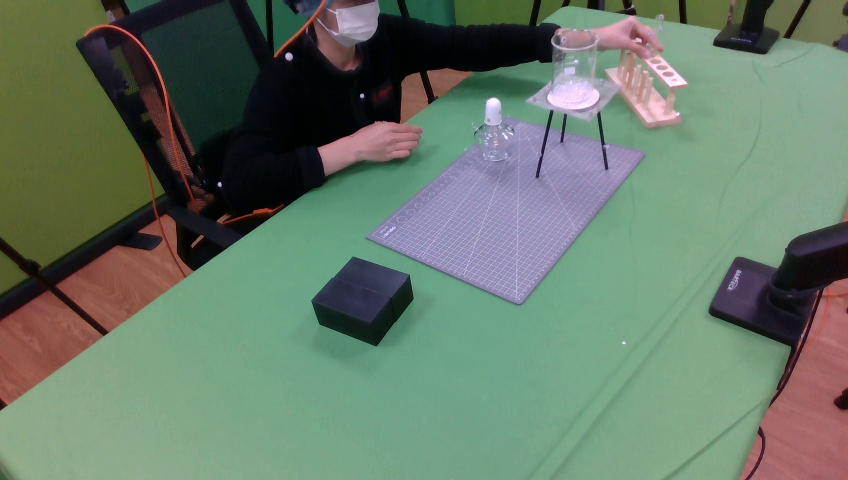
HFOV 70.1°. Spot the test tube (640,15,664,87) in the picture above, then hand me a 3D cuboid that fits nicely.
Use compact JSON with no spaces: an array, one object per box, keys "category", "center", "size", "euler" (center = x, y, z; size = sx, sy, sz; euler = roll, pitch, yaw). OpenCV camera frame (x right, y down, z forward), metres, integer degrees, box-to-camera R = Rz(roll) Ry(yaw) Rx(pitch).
[{"category":"test tube","center":[0.459,-0.377,1.218],"size":[0.017,0.151,0.017],"euler":[-1,44,1]}]

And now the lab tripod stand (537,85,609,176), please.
[{"category":"lab tripod stand","center":[0.259,-0.192,1.068],"size":[0.148,0.132,0.147],"euler":[-4,43,4]}]

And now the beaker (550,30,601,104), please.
[{"category":"beaker","center":[0.249,-0.285,1.001],"size":[0.084,0.101,0.073],"euler":[-13,43,-5]}]

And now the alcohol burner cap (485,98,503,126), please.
[{"category":"alcohol burner cap","center":[0.126,-0.234,1.097],"size":[0.034,0.048,0.033],"euler":[-3,39,3]}]

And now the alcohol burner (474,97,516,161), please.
[{"category":"alcohol burner","center":[0.131,-0.208,1.121],"size":[0.078,0.119,0.077],"euler":[-6,40,5]}]

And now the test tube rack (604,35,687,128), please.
[{"category":"test tube rack","center":[0.447,-0.330,1.241],"size":[0.067,0.085,0.241],"euler":[-9,41,-2]}]

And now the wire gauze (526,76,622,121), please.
[{"category":"wire gauze","center":[0.255,-0.247,1.030],"size":[0.124,0.011,0.122],"euler":[23,49,34]}]
